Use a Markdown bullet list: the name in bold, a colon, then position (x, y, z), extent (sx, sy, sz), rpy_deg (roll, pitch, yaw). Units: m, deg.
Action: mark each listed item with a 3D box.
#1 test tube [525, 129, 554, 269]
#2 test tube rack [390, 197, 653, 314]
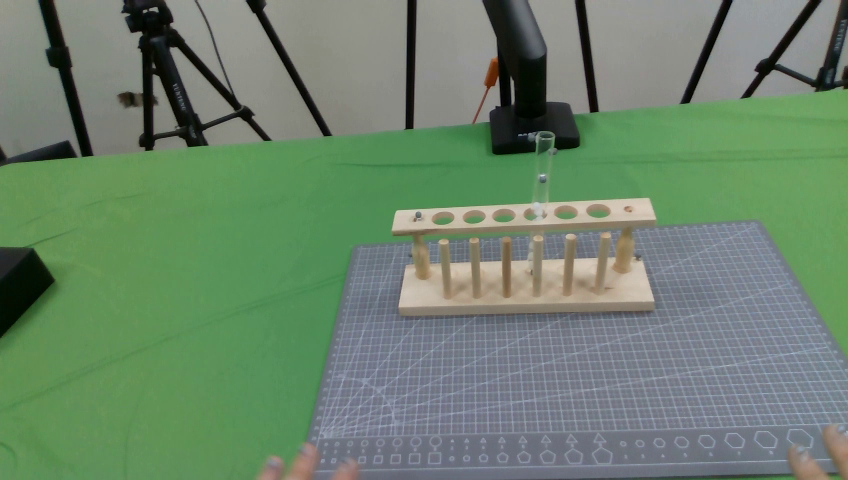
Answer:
- **test tube**: position (0.107, -0.033, 0.566), extent (0.017, 0.151, 0.017), rpy_deg (-1, 37, 1)
- **test tube rack**: position (0.092, 0.017, 0.586), extent (0.242, 0.086, 0.066), rpy_deg (-2, 39, 8)
